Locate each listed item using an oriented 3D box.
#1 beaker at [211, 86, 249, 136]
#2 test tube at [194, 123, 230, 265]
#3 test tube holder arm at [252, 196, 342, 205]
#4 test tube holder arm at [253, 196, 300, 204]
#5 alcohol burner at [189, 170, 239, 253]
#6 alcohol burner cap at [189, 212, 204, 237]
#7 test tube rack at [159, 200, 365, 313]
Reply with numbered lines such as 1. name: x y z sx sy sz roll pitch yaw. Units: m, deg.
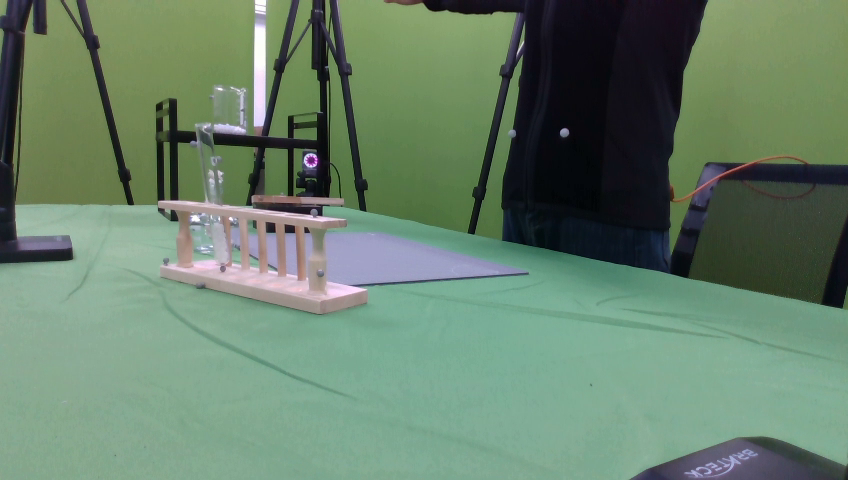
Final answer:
1. beaker: -0.413 -0.274 1.297 0.074 0.100 0.083 -5 11 -44
2. test tube: -0.218 -0.045 0.624 0.017 0.150 0.017 -2 19 1
3. test tube holder arm: -0.241 -0.076 1.164 0.179 0.015 0.013 -1 7 -33
4. test tube holder arm: -0.276 -0.075 1.135 0.088 0.015 0.010 -1 7 -32
5. alcohol burner: -0.303 -0.042 0.871 0.078 0.119 0.078 4 6 0
6. alcohol burner cap: -0.389 -0.029 1.026 0.034 0.048 0.034 3 8 0
7. test tube rack: -0.173 0.009 0.625 0.241 0.085 0.067 7 9 34
